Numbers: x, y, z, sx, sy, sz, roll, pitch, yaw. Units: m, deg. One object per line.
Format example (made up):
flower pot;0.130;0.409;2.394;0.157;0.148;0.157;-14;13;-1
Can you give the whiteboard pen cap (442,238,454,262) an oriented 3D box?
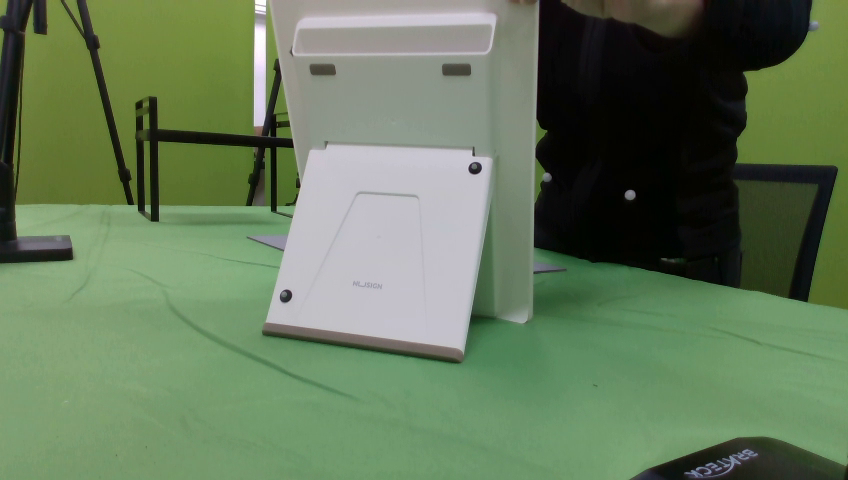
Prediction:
whiteboard pen cap;0.033;0.014;0.851;0.018;0.033;0.018;2;4;0

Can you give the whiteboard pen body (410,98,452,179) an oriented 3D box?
whiteboard pen body;0.006;-0.097;0.570;0.017;0.017;0.141;4;40;14

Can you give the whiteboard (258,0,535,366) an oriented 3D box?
whiteboard;-0.037;-0.040;0.456;0.216;0.305;0.144;5;27;19
